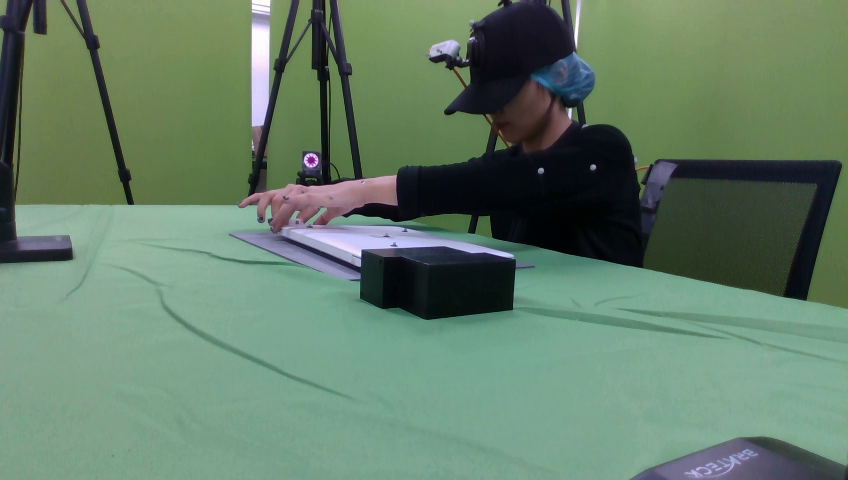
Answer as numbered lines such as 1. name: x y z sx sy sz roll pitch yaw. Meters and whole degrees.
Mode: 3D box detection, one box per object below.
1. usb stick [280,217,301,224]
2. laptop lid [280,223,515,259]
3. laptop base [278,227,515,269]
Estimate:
1. usb stick: -0.228 -0.025 1.040 0.021 0.027 0.059 1 6 -35
2. laptop lid: -0.057 -0.002 0.917 0.243 0.013 0.355 1 7 -29
3. laptop base: -0.060 0.009 0.917 0.237 0.023 0.352 2 6 -31
